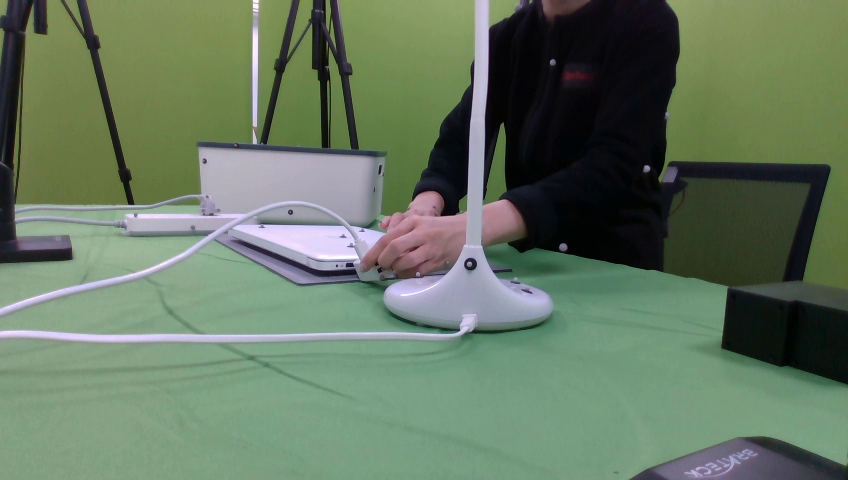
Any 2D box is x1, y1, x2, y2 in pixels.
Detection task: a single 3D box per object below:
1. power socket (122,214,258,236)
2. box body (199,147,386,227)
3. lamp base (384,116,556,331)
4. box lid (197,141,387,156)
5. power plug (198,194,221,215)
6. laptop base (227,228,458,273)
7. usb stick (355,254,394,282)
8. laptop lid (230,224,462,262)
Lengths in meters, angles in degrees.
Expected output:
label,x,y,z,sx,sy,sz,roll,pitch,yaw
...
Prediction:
label,x,y,z,sx,sy,sz,roll,pitch,yaw
power socket,-0.399,-0.028,1.049,0.228,0.032,0.072,-3,8,-34
box body,-0.276,-0.124,1.334,0.364,0.160,0.254,3,7,1
lamp base,0.046,-0.019,0.545,0.161,0.180,0.179,1,10,-4
box lid,-0.275,-0.198,1.325,0.372,0.015,0.263,3,8,1
power plug,-0.387,-0.055,1.089,0.035,0.052,0.072,-1,7,-22
laptop base,-0.122,0.012,0.889,0.237,0.023,0.352,1,7,-35
usb stick,-0.059,0.032,0.678,0.021,0.027,0.059,-31,9,-30
laptop lid,-0.119,0.000,0.888,0.243,0.013,0.355,1,7,-33
